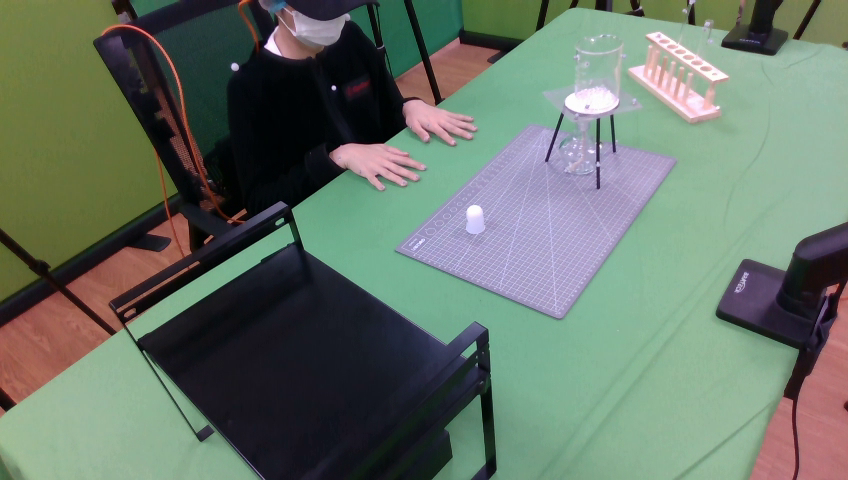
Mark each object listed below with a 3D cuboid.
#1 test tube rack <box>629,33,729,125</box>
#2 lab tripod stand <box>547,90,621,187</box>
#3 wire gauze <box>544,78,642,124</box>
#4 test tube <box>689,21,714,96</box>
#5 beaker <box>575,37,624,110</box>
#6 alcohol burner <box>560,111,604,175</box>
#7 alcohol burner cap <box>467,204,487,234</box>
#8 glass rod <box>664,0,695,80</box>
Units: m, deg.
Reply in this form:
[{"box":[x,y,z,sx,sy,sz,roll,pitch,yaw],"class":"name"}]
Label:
[{"box":[0.516,-0.337,1.247,0.067,0.085,0.240,-15,41,-7],"class":"test tube rack"},{"box":[0.289,-0.184,1.062,0.148,0.132,0.147,-6,41,6],"class":"lab tripod stand"},{"box":[0.282,-0.234,1.022,0.125,0.011,0.120,-17,38,-4],"class":"wire gauze"},{"box":[0.542,-0.353,1.185,0.017,0.151,0.017,-2,40,2],"class":"test tube"},{"box":[0.283,-0.271,0.988,0.074,0.101,0.083,-10,39,1],"class":"beaker"},{"box":[0.281,-0.176,1.070,0.078,0.119,0.077,-4,43,5],"class":"alcohol burner"},{"box":[0.085,-0.037,0.993,0.034,0.048,0.033,-4,41,4],"class":"alcohol burner cap"},{"box":[0.523,-0.415,1.235,0.008,0.200,0.008,1,47,0],"class":"glass rod"}]
